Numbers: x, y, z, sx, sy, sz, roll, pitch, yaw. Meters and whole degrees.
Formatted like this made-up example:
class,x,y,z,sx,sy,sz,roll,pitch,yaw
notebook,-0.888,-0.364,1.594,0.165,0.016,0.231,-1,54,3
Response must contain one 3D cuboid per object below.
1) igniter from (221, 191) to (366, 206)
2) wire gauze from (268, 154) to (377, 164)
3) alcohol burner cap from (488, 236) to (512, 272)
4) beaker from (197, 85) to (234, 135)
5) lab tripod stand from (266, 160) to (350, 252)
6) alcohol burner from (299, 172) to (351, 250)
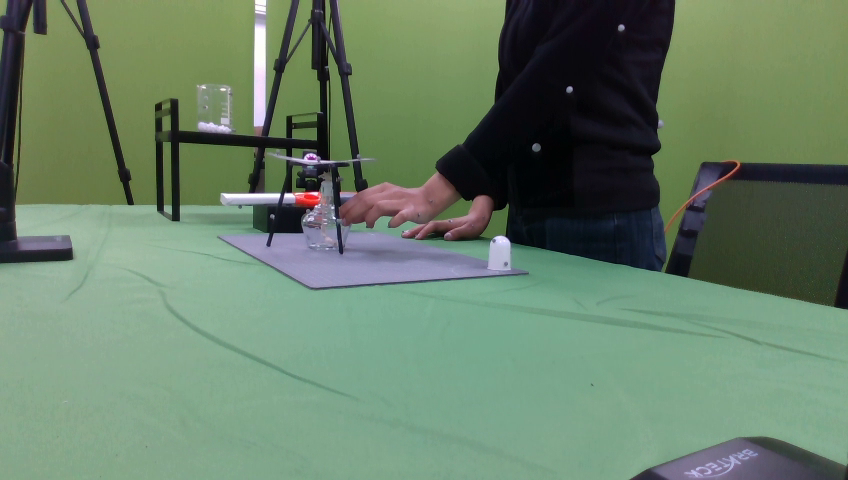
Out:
class,x,y,z,sx,sy,sz,roll,pitch,yaw
igniter,-0.240,-0.079,1.150,0.278,0.025,0.057,-3,20,-32
wire gauze,-0.154,-0.120,0.910,0.122,0.011,0.124,-5,11,-44
alcohol burner cap,0.102,0.018,0.802,0.034,0.048,0.034,1,9,0
beaker,-0.444,-0.275,1.283,0.074,0.100,0.084,5,8,22
lab tripod stand,-0.164,-0.054,0.915,0.148,0.131,0.148,2,9,0
alcohol burner,-0.150,-0.044,0.922,0.078,0.119,0.078,4,6,0
